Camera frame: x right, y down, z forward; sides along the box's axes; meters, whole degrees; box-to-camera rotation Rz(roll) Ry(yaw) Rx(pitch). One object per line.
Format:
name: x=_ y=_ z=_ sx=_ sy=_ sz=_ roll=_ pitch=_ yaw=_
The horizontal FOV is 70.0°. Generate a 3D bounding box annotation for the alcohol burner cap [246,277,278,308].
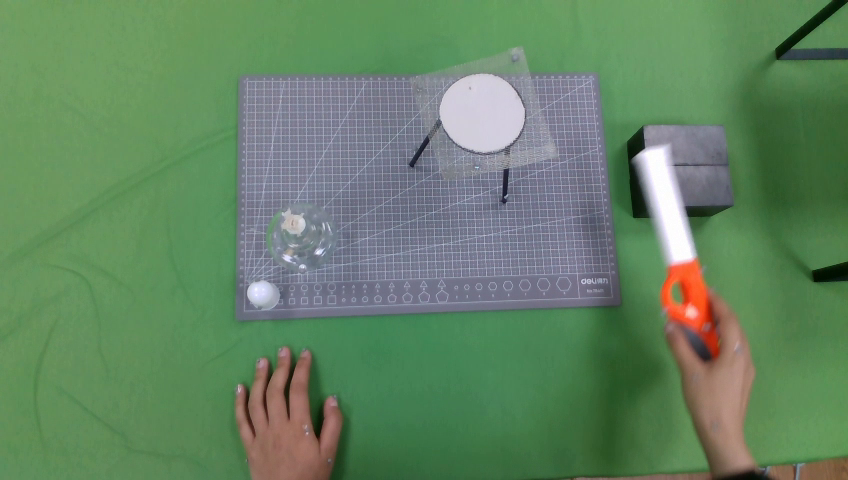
alcohol burner cap: x=-0.183 y=0.057 z=0.674 sx=0.034 sy=0.048 sz=0.033 roll=1 pitch=78 yaw=-5

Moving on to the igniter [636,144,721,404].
igniter: x=0.271 y=0.034 z=0.646 sx=0.057 sy=0.025 sz=0.275 roll=-9 pitch=84 yaw=-9

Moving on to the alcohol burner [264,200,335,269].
alcohol burner: x=-0.136 y=-0.010 z=0.654 sx=0.078 sy=0.119 sz=0.077 roll=1 pitch=80 yaw=-5

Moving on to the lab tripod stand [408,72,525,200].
lab tripod stand: x=0.055 y=-0.121 z=0.680 sx=0.148 sy=0.132 sz=0.147 roll=1 pitch=77 yaw=-3

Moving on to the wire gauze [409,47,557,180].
wire gauze: x=0.060 y=-0.128 z=0.613 sx=0.125 sy=0.011 sz=0.121 roll=-15 pitch=80 yaw=-7
